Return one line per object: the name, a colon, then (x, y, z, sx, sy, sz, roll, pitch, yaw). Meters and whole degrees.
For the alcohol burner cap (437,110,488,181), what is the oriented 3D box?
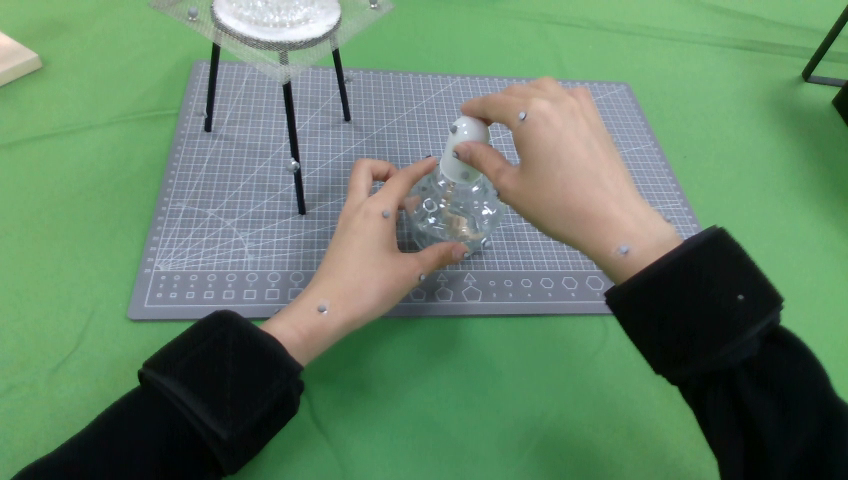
alcohol burner cap: (0.028, -0.067, 0.414, 0.034, 0.048, 0.033, 4, 53, -5)

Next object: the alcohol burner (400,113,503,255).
alcohol burner: (0.023, -0.045, 0.442, 0.078, 0.120, 0.077, 6, 48, -6)

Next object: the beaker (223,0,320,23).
beaker: (-0.102, -0.199, 0.386, 0.073, 0.101, 0.084, 39, 56, 20)

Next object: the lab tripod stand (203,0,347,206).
lab tripod stand: (-0.110, -0.121, 0.470, 0.149, 0.132, 0.147, 6, 50, -7)

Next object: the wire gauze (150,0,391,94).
wire gauze: (-0.105, -0.163, 0.421, 0.124, 0.011, 0.121, 34, 56, 13)

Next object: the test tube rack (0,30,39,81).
test tube rack: (-0.440, -0.134, 0.460, 0.066, 0.086, 0.241, 31, 52, 16)
